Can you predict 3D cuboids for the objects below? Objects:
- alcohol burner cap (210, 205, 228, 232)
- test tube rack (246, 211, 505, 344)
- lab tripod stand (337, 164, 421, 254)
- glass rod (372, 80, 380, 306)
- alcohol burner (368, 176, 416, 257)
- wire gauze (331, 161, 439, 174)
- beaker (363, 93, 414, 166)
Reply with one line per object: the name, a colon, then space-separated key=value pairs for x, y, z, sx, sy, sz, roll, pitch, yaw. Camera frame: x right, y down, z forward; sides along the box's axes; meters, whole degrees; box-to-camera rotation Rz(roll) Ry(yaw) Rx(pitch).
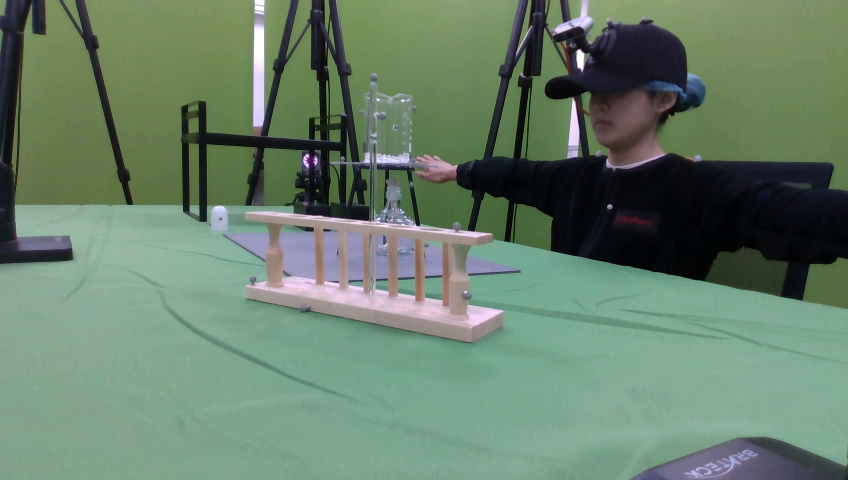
alcohol burner cap: x=-0.376 y=-0.040 z=1.107 sx=0.034 sy=0.048 sz=0.034 roll=2 pitch=7 yaw=0
test tube rack: x=-0.049 y=0.025 z=0.547 sx=0.241 sy=0.085 sz=0.067 roll=7 pitch=8 yaw=29
lab tripod stand: x=-0.061 y=-0.045 z=0.894 sx=0.148 sy=0.131 sz=0.148 roll=1 pitch=6 yaw=0
glass rod: x=-0.042 y=-0.039 z=0.530 sx=0.008 sy=0.199 sz=0.008 roll=0 pitch=2 yaw=0
alcohol burner: x=-0.046 y=-0.035 z=0.896 sx=0.078 sy=0.119 sz=0.078 roll=4 pitch=5 yaw=0
wire gauze: x=-0.054 y=-0.109 z=0.884 sx=0.121 sy=0.011 sz=0.125 roll=6 pitch=5 yaw=18
beaker: x=-0.052 y=-0.157 z=0.871 sx=0.074 sy=0.100 sz=0.084 roll=1 pitch=6 yaw=-10
